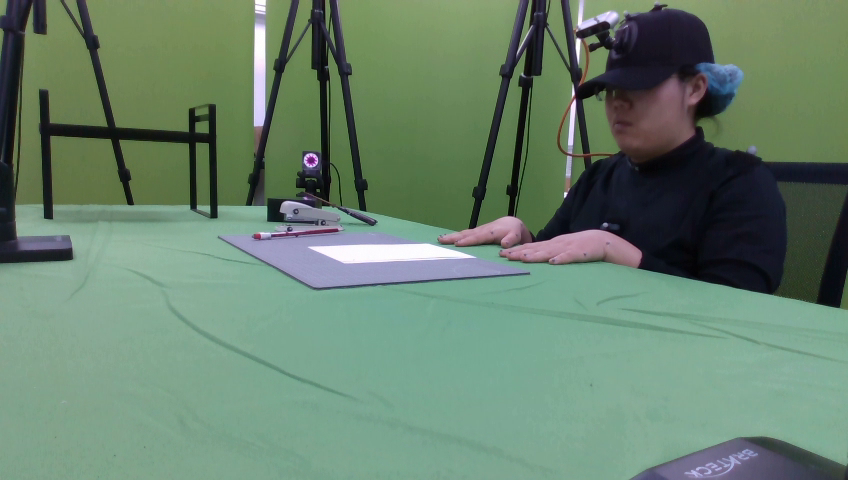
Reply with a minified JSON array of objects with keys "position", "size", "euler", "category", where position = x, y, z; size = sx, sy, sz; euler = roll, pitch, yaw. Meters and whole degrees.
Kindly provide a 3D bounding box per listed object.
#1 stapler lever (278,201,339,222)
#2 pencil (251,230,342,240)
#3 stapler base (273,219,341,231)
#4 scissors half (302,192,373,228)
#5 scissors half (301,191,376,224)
[{"position":[-0.222,-0.055,1.170],"size":[0.119,0.040,0.026],"euler":[-1,11,-34],"category":"stapler lever"},{"position":[-0.215,-0.011,1.049],"size":[0.012,0.012,0.195],"euler":[9,9,39],"category":"pencil"},{"position":[-0.225,-0.031,1.172],"size":[0.131,0.024,0.041],"euler":[0,10,-34],"category":"stapler base"},{"position":[-0.191,-0.068,1.314],"size":[0.175,0.013,0.040],"euler":[26,17,7],"category":"scissors half"},{"position":[-0.189,-0.073,1.334],"size":[0.175,0.013,0.040],"euler":[22,12,-10],"category":"scissors half"}]
